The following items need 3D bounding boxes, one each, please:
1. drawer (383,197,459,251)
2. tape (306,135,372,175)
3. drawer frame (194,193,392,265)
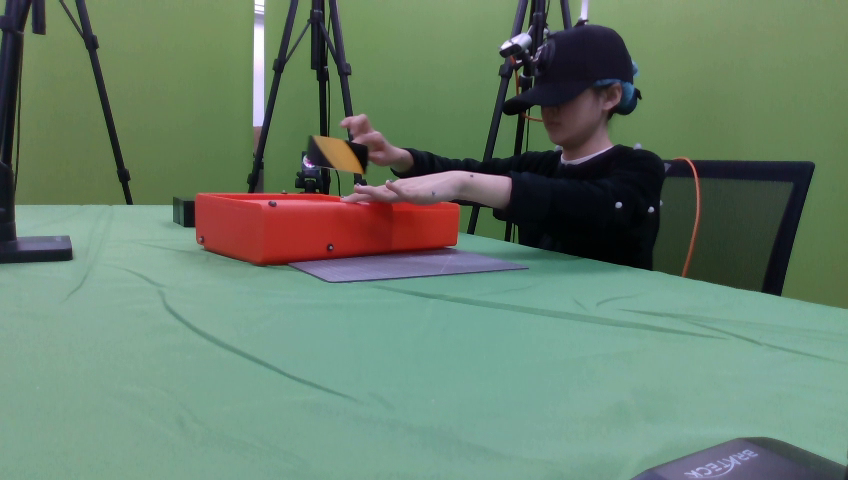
[{"bbox_3d":[-0.085,-0.028,0.979,0.213,0.073,0.193,-4,11,-42],"label":"drawer"},{"bbox_3d":[-0.151,-0.150,1.072,0.117,0.052,0.117,10,4,0],"label":"tape"},{"bbox_3d":[-0.190,-0.024,0.882,0.215,0.082,0.200,-5,11,-44],"label":"drawer frame"}]
